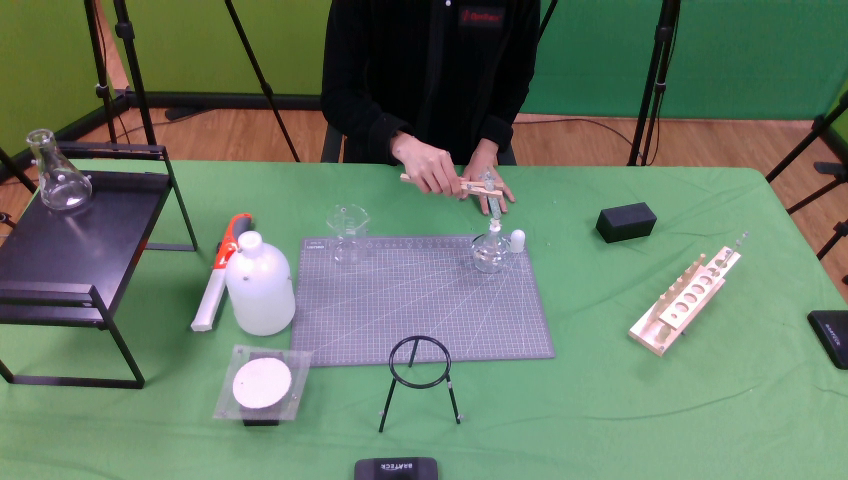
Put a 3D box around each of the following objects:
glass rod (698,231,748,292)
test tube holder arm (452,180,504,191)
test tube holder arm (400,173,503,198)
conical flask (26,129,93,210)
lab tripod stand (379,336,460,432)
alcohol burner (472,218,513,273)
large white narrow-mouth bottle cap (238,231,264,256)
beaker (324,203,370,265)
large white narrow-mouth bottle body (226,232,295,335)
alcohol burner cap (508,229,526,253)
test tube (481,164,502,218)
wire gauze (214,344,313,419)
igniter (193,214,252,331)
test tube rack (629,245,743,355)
[{"bbox_3d":[0.514,0.044,1.051,0.008,0.200,0.008,1,55,-1],"label":"glass rod"},{"bbox_3d":[0.090,-0.092,1.014,0.088,0.015,0.010,3,60,9],"label":"test tube holder arm"},{"bbox_3d":[0.045,-0.092,1.021,0.178,0.015,0.013,9,61,13],"label":"test tube holder arm"},{"bbox_3d":[-0.575,-0.113,0.946,0.075,0.122,0.075,2,46,-2],"label":"conical flask"},{"bbox_3d":[-0.011,0.214,0.911,0.148,0.132,0.147,1,45,0],"label":"lab tripod stand"},{"bbox_3d":[0.128,0.005,1.132,0.078,0.120,0.077,0,47,0],"label":"alcohol burner"},{"bbox_3d":[-0.266,0.006,0.932,0.038,0.024,0.037,2,46,-2],"label":"large white narrow-mouth bottle cap"},{"bbox_3d":[-0.142,-0.009,1.137,0.084,0.101,0.073,-3,47,-7],"label":"beaker"},{"bbox_3d":[-0.270,0.065,0.995,0.102,0.195,0.101,2,46,-2],"label":"large white narrow-mouth bottle body"},{"bbox_3d":[0.185,-0.002,1.192,0.034,0.048,0.033,3,44,-2],"label":"alcohol burner cap"},{"bbox_3d":[0.115,-0.079,1.019,0.017,0.151,0.017,-7,60,12],"label":"test tube"},{"bbox_3d":[-0.241,0.213,0.915,0.121,0.011,0.124,5,46,1],"label":"wire gauze"},{"bbox_3d":[-0.368,0.050,1.119,0.057,0.025,0.275,-3,46,8],"label":"igniter"},{"bbox_3d":[0.474,0.095,1.091,0.242,0.085,0.066,-34,56,-31],"label":"test tube rack"}]
